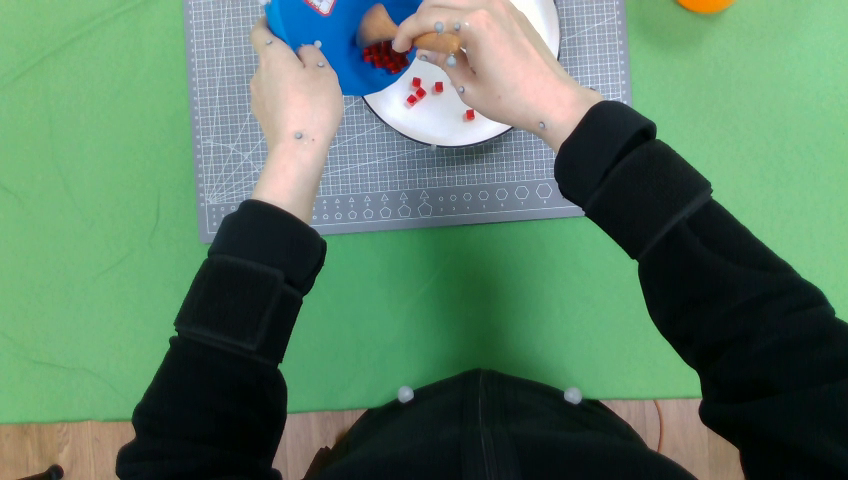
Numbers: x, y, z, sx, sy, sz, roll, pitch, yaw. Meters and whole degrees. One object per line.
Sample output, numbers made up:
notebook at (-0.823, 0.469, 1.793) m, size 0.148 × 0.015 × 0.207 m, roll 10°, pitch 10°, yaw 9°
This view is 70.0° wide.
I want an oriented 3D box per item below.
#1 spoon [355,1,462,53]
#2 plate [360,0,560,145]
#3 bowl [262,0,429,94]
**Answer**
spoon at (-0.015, -0.157, 0.455) m, size 0.022 × 0.191 × 0.041 m, roll 24°, pitch 99°, yaw -35°
plate at (0.028, -0.196, 0.599) m, size 0.209 × 0.038 × 0.209 m, roll 0°, pitch 90°, yaw 3°
bowl at (-0.077, -0.203, 0.501) m, size 0.076 × 0.153 × 0.151 m, roll 26°, pitch 92°, yaw 42°
